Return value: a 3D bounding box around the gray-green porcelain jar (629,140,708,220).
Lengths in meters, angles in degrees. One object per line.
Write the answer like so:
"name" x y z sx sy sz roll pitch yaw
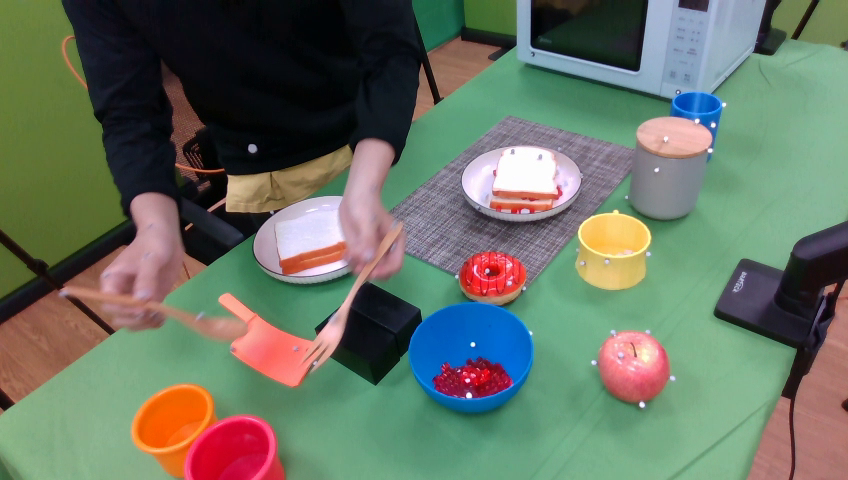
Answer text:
"gray-green porcelain jar" 0.383 -0.104 0.958 0.106 0.127 0.105 -4 41 4

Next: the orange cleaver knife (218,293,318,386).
"orange cleaver knife" -0.235 0.136 0.850 0.209 0.012 0.077 25 56 30

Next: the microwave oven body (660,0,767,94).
"microwave oven body" 0.473 -0.517 1.313 0.438 0.261 0.327 26 51 34

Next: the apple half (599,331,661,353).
"apple half" 0.249 0.134 0.738 0.081 0.081 0.032 -1 46 7

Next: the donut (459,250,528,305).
"donut" 0.100 0.053 0.873 0.099 0.048 0.098 -4 40 4

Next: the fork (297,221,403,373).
"fork" -0.077 0.058 0.679 0.028 0.019 0.207 19 66 25

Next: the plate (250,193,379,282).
"plate" -0.174 0.000 0.984 0.209 0.038 0.208 -3 40 3

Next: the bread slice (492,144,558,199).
"bread slice" 0.172 -0.118 1.028 0.107 0.018 0.134 3 44 7

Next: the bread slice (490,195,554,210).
"bread slice" 0.173 -0.099 1.047 0.104 0.019 0.131 2 42 12

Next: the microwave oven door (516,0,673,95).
"microwave oven door" 0.344 -0.458 1.256 0.353 0.245 0.039 26 51 33

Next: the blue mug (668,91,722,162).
"blue mug" 0.474 -0.207 1.079 0.082 0.106 0.116 4 42 13

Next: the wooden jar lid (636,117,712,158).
"wooden jar lid" 0.377 -0.151 0.917 0.108 0.021 0.108 -2 41 3

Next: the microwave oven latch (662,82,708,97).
"microwave oven latch" 0.517 -0.298 1.203 0.078 0.029 0.030 27 52 34

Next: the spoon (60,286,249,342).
"spoon" -0.286 0.077 0.658 0.195 0.021 0.041 24 20 -28

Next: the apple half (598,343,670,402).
"apple half" 0.247 0.161 0.710 0.081 0.075 0.053 2 47 5

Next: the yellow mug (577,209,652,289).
"yellow mug" 0.279 0.005 0.893 0.099 0.064 0.130 5 41 15

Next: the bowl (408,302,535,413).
"bowl" 0.060 0.156 0.739 0.151 0.077 0.150 -4 40 4

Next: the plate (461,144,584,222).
"plate" 0.167 -0.095 1.040 0.207 0.039 0.206 -4 41 4
